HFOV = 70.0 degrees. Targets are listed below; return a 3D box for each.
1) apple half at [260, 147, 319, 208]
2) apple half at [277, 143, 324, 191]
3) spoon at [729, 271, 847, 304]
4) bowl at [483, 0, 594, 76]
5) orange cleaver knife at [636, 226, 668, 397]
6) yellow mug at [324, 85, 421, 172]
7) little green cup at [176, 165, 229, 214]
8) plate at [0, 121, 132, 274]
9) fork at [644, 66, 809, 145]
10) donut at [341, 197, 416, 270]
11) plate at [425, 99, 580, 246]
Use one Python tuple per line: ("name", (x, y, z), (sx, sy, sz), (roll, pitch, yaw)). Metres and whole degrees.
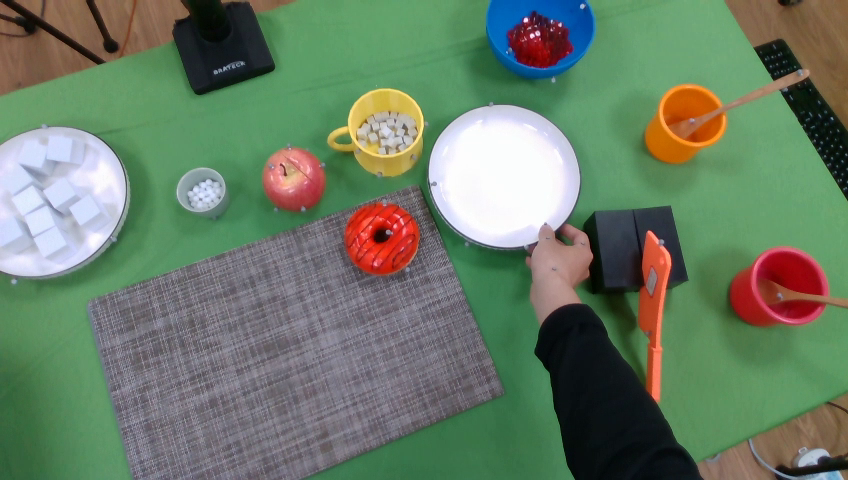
("apple half", (-0.181, -0.072, 0.788), (0.080, 0.075, 0.053), (42, 81, 6))
("apple half", (-0.155, -0.101, 0.795), (0.081, 0.081, 0.033), (41, 81, 9))
("spoon", (0.474, 0.067, 0.736), (0.192, 0.022, 0.041), (9, 62, 47))
("bowl", (0.154, -0.290, 0.859), (0.151, 0.077, 0.150), (1, 75, -2))
("orange cleaver knife", (0.278, 0.090, 0.752), (0.012, 0.077, 0.212), (-2, 107, 0))
("yellow mug", (-0.069, -0.146, 0.816), (0.131, 0.064, 0.099), (-10, 75, -4))
("little green cup", (-0.289, -0.064, 0.799), (0.061, 0.039, 0.061), (1, 74, -2))
("plate", (-0.483, -0.054, 0.788), (0.208, 0.039, 0.206), (1, 74, -2))
("fork", (0.391, -0.176, 0.799), (0.207, 0.019, 0.028), (-25, 69, 36))
("donut", (-0.059, -0.009, 0.785), (0.099, 0.048, 0.098), (0, 75, 0))
("plate", (0.104, -0.089, 0.821), (0.209, 0.038, 0.208), (1, 74, -1))
